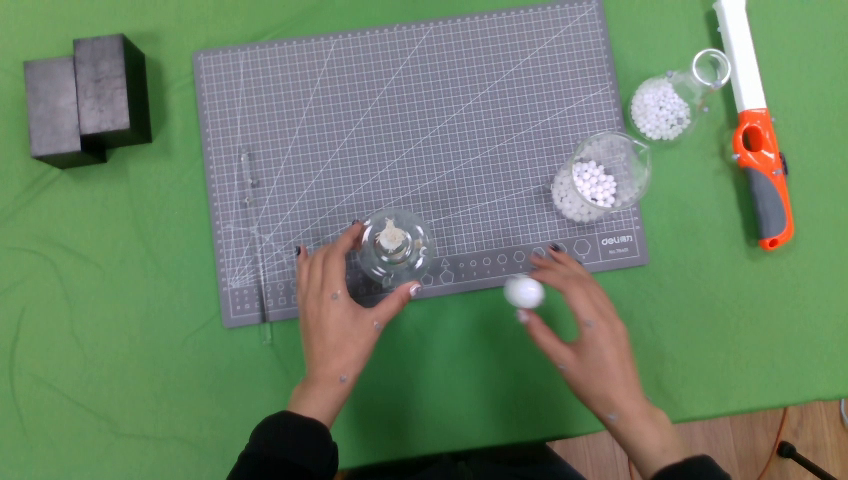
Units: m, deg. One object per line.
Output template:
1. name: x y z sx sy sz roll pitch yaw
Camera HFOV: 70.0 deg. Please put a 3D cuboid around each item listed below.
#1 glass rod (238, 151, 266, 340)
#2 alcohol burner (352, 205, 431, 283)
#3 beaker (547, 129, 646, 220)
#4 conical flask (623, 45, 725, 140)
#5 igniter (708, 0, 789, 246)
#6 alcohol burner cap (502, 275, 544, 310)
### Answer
1. glass rod: -0.179 0.005 0.633 0.008 0.008 0.199 -8 87 -2
2. alcohol burner: -0.033 0.002 0.583 0.078 0.119 0.077 0 83 2
3. beaker: 0.167 -0.061 0.599 0.084 0.100 0.074 -32 85 -4
4. conical flask: 0.252 -0.150 0.601 0.075 0.122 0.075 0 83 0
5. igniter: 0.346 -0.131 0.648 0.057 0.025 0.275 -7 84 -13
6. alcohol burner cap: 0.094 0.047 0.560 0.034 0.048 0.033 2 79 -10
